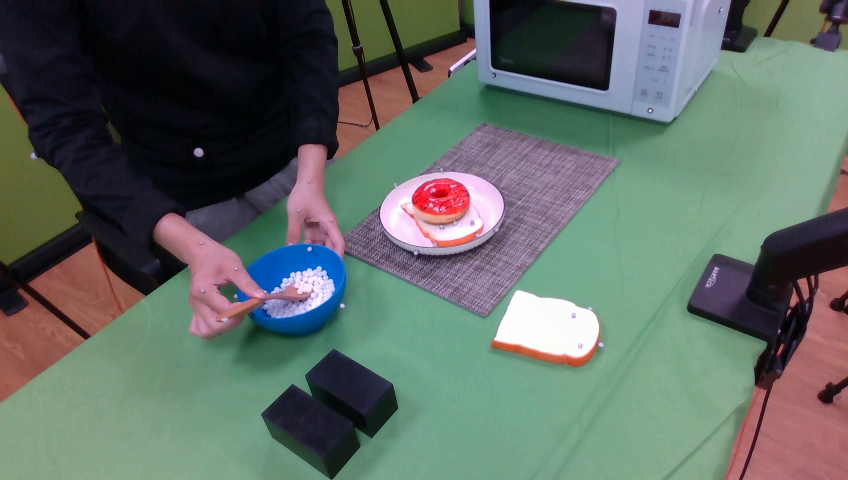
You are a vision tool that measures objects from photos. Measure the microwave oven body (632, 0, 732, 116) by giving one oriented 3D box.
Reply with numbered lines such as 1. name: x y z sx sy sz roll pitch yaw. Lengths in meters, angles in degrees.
1. microwave oven body: 0.377 -0.462 1.267 0.438 0.261 0.327 21 48 30

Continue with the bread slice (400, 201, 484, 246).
1. bread slice: 0.037 -0.038 0.990 0.107 0.018 0.133 -23 43 -17

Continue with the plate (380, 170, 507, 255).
1. plate: 0.033 -0.042 0.995 0.207 0.039 0.206 -4 40 4

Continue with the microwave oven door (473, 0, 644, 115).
1. microwave oven door: 0.257 -0.396 1.199 0.353 0.245 0.039 21 48 29

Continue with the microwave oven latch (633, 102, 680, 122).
1. microwave oven latch: 0.444 -0.249 1.157 0.078 0.029 0.030 21 49 30

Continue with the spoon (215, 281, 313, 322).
1. spoon: -0.208 0.078 0.795 0.041 0.021 0.194 15 10 20

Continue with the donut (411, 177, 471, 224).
1. donut: 0.028 -0.064 0.978 0.099 0.048 0.098 -4 40 4

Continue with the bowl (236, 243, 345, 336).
1. bowl: -0.180 0.082 0.855 0.151 0.077 0.150 -4 41 4

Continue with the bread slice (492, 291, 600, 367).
1. bread slice: 0.169 0.118 0.811 0.131 0.019 0.105 11 44 21
